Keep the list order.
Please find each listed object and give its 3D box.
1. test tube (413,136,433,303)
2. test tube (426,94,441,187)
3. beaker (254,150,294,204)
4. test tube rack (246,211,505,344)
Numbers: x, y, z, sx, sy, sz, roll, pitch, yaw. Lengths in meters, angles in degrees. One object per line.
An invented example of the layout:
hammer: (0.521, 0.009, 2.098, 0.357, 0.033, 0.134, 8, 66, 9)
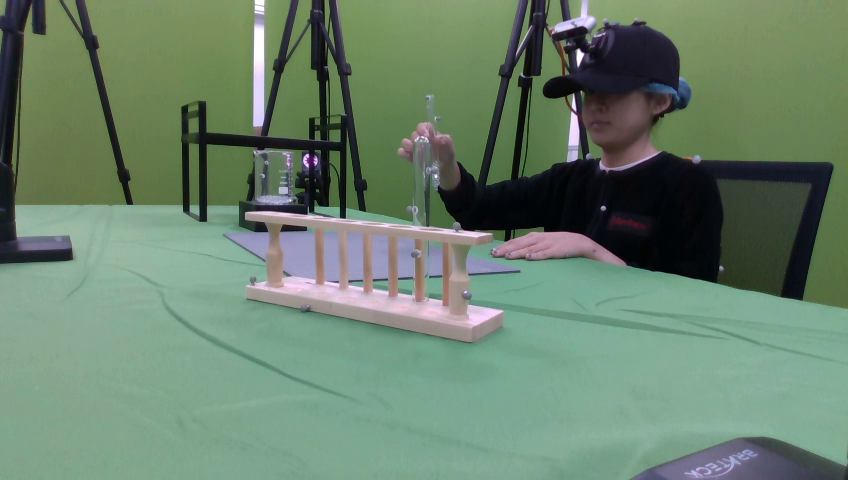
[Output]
test tube: (-0.001, -0.016, 0.538, 0.017, 0.150, 0.017, 1, 8, 0)
test tube: (0.016, -0.161, 0.989, 0.017, 0.150, 0.017, -4, 10, 1)
beaker: (-0.289, -0.120, 1.151, 0.073, 0.100, 0.084, 8, 9, 33)
test tube rack: (-0.049, 0.025, 0.547, 0.241, 0.085, 0.067, 7, 8, 29)
